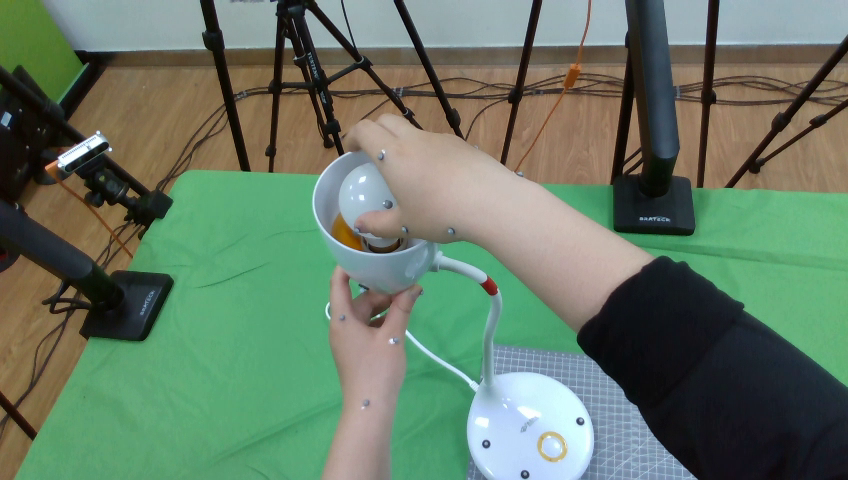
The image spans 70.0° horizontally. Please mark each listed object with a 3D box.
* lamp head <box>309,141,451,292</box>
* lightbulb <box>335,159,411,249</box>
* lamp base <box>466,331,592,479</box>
[{"bbox_3d":[-0.031,-0.007,0.527,0.112,0.124,0.111,-3,57,5],"label":"lamp head"},{"bbox_3d":[-0.039,-0.022,0.499,0.059,0.108,0.059,0,60,1],"label":"lightbulb"},{"bbox_3d":[0.113,0.187,0.723,0.177,0.182,0.160,27,61,29],"label":"lamp base"}]
